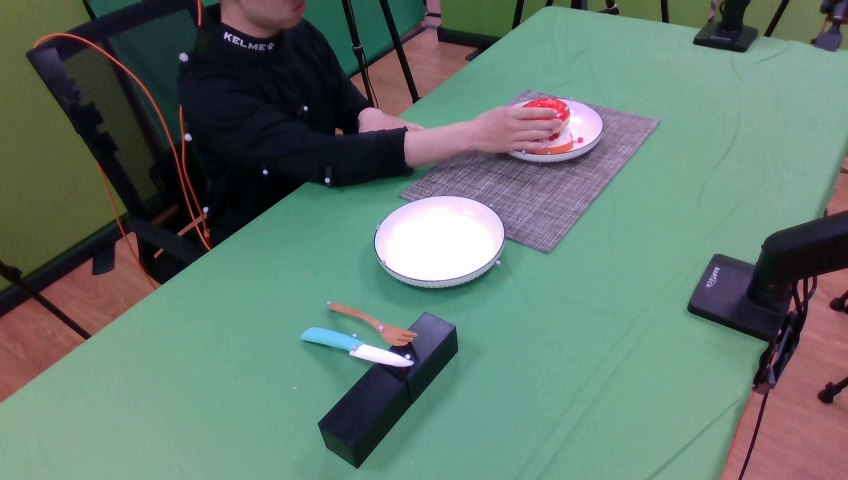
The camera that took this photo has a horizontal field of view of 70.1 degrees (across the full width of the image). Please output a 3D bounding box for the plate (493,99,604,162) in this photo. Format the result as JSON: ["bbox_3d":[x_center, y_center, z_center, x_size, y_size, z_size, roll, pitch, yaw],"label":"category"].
[{"bbox_3d":[0.237,-0.206,1.158,0.209,0.038,0.208,-4,40,4],"label":"plate"}]

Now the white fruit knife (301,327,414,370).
[{"bbox_3d":[-0.088,0.140,0.781,0.205,0.016,0.027,8,42,42],"label":"white fruit knife"}]

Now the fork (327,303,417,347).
[{"bbox_3d":[-0.077,0.110,0.811,0.028,0.019,0.205,-40,33,-27],"label":"fork"}]

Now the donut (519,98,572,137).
[{"bbox_3d":[0.225,-0.230,1.123,0.099,0.048,0.098,-7,43,7],"label":"donut"}]

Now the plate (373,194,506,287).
[{"bbox_3d":[0.025,0.003,0.951,0.207,0.039,0.206,-4,41,4],"label":"plate"}]

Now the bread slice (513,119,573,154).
[{"bbox_3d":[0.233,-0.204,1.161,0.105,0.019,0.131,-7,39,1],"label":"bread slice"}]
